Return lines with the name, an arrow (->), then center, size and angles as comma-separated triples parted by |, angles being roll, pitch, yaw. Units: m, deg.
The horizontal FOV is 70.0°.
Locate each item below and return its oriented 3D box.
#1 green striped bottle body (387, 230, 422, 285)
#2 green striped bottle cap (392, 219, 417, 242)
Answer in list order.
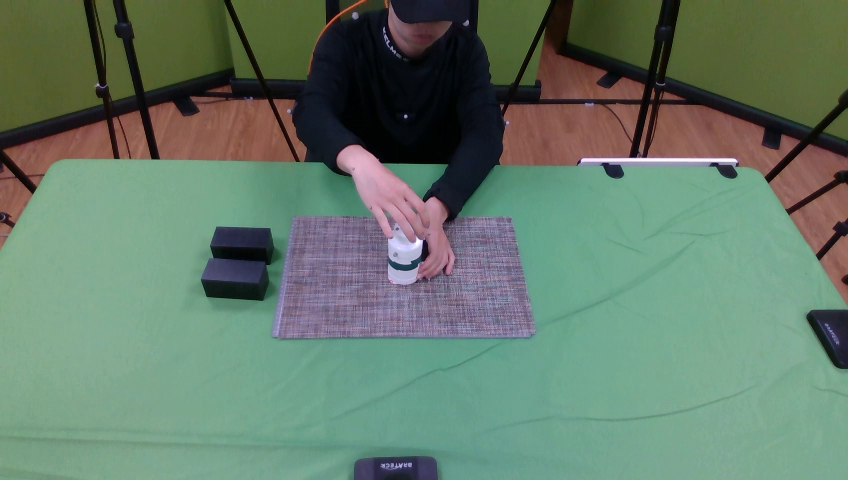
green striped bottle body -> -0.036, 0.021, 1.102 | 0.063, 0.120, 0.063 | 2, 46, -2
green striped bottle cap -> -0.034, -0.017, 1.066 | 0.044, 0.020, 0.044 | 4, 47, -4
